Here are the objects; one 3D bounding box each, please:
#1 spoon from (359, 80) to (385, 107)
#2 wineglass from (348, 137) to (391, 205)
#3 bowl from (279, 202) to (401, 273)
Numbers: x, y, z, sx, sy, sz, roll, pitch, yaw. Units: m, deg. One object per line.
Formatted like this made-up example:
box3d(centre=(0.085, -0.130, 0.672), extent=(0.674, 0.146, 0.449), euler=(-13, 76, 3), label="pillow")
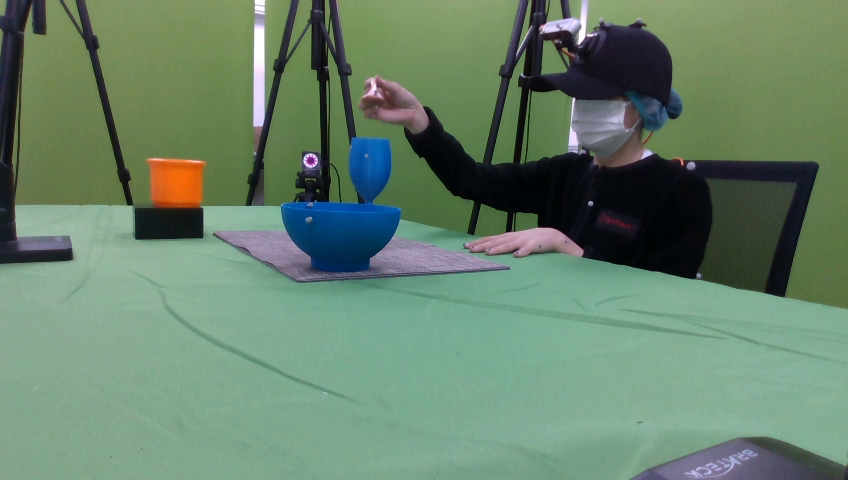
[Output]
box3d(centre=(-0.087, -0.252, 1.023), extent=(0.042, 0.021, 0.193), euler=(5, 27, -6), label="spoon")
box3d(centre=(-0.092, -0.081, 0.997), extent=(0.074, 0.172, 0.073), euler=(3, 7, 0), label="wineglass")
box3d(centre=(-0.105, -0.003, 0.756), extent=(0.151, 0.077, 0.151), euler=(3, 7, 0), label="bowl")
